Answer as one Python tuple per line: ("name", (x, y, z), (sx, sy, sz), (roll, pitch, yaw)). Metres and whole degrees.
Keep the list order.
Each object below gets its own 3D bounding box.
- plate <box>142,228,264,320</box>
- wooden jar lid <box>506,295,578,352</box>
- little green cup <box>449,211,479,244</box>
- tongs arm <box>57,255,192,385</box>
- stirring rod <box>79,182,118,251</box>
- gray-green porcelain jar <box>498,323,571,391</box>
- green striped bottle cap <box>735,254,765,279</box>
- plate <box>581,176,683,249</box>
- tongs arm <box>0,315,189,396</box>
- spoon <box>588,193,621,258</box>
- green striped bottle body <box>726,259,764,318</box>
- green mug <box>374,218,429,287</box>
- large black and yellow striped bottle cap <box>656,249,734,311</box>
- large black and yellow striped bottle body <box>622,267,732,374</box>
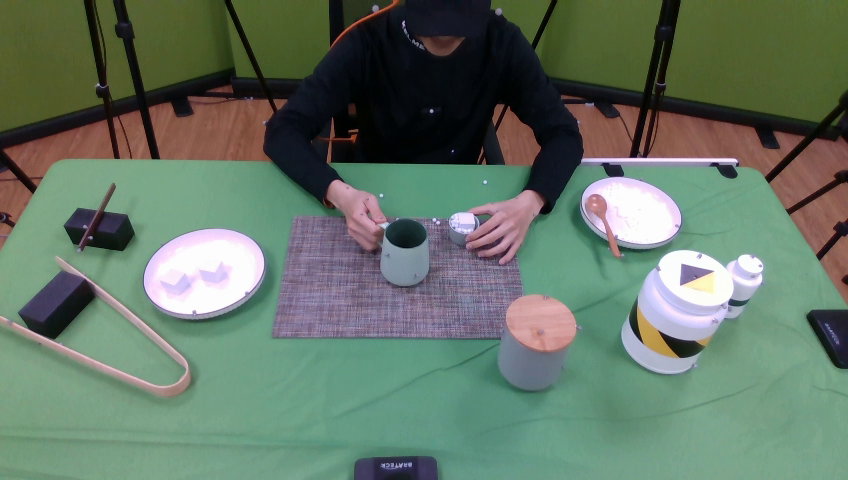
("plate", (-0.394, 0.064, 1.095), (0.208, 0.039, 0.206), (2, 46, -2))
("wooden jar lid", (0.179, 0.130, 0.925), (0.108, 0.021, 0.107), (2, 43, -2))
("little green cup", (0.078, -0.023, 1.205), (0.061, 0.039, 0.061), (2, 48, -2))
("tongs arm", (-0.517, 0.126, 1.033), (0.386, 0.028, 0.028), (30, 43, 23))
("stirring rod", (-0.605, -0.047, 1.130), (0.006, 0.014, 0.175), (0, 47, 1))
("gray-green porcelain jar", (0.176, 0.172, 0.971), (0.106, 0.127, 0.105), (2, 46, -2))
("green striped bottle cap", (0.566, 0.046, 1.051), (0.044, 0.020, 0.044), (0, 45, 0))
("plate", (0.430, -0.054, 1.267), (0.209, 0.038, 0.208), (2, 46, -2))
("tongs arm", (-0.555, 0.170, 0.981), (0.384, 0.026, 0.050), (21, 43, 14))
("spoon", (0.367, -0.032, 1.220), (0.041, 0.022, 0.192), (2, 38, -1))
("green striped bottle body", (0.563, 0.081, 1.089), (0.063, 0.120, 0.063), (2, 46, -2))
("green mug", (-0.047, 0.015, 1.116), (0.124, 0.105, 0.092), (36, 54, 27))
("large black and yellow striped bottle cap", (0.419, 0.061, 0.938), (0.115, 0.019, 0.114), (2, 47, -2))
("large black and yellow striped bottle body", (0.415, 0.119, 0.997), (0.131, 0.185, 0.130), (2, 46, -2))
